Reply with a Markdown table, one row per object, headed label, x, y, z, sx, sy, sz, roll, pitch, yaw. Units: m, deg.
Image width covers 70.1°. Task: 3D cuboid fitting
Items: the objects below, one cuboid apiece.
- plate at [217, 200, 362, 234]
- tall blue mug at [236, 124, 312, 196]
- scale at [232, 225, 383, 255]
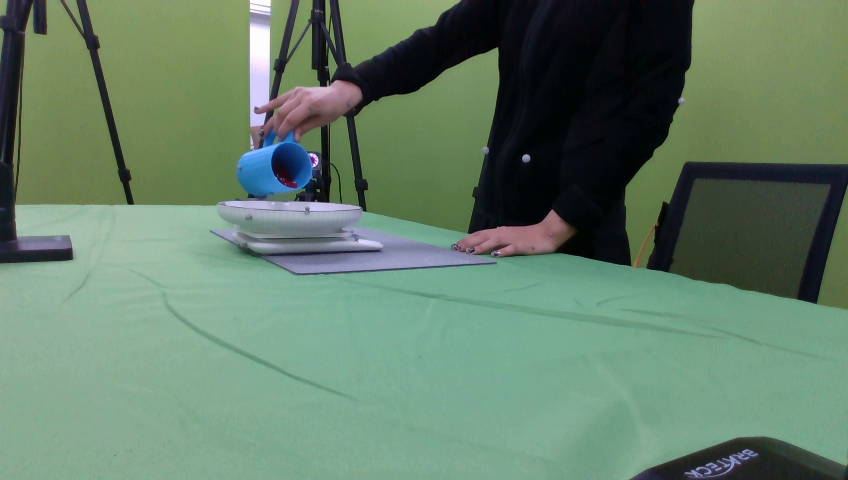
| label | x | y | z | sx | sy | sz | roll | pitch | yaw |
| --- | --- | --- | --- | --- | --- | --- | --- | --- | --- |
| plate | -0.196 | -0.034 | 0.894 | 0.209 | 0.038 | 0.209 | 2 | 7 | 0 |
| tall blue mug | -0.246 | -0.129 | 0.976 | 0.107 | 0.107 | 0.078 | -3 | 14 | 46 |
| scale | -0.177 | -0.004 | 0.920 | 0.202 | 0.031 | 0.148 | -1 | 9 | -30 |
